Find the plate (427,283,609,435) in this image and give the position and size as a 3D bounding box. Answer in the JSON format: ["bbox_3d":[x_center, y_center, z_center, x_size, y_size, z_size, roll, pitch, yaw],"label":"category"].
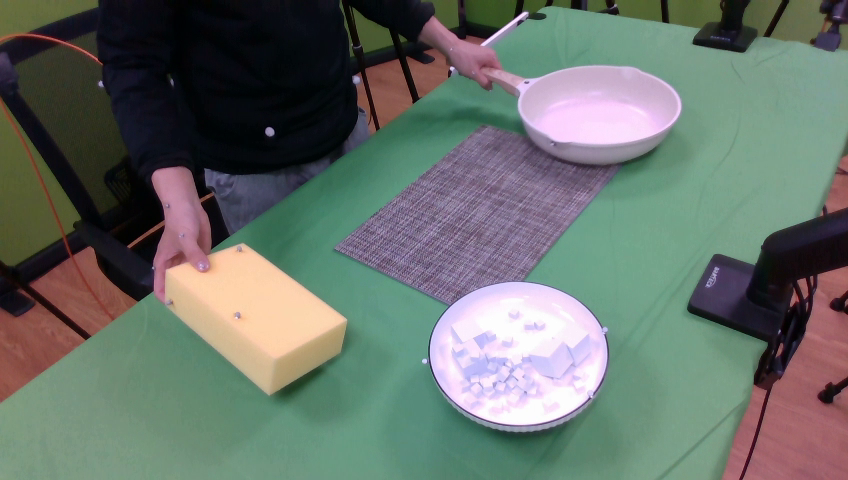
[{"bbox_3d":[0.108,0.137,0.708,0.207,0.039,0.206,-4,42,4],"label":"plate"}]

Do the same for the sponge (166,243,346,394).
[{"bbox_3d":[-0.217,0.092,0.777,0.205,0.061,0.119,31,34,24],"label":"sponge"}]

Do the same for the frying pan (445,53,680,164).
[{"bbox_3d":[0.243,-0.283,1.185,0.484,0.103,0.308,31,52,24],"label":"frying pan"}]
